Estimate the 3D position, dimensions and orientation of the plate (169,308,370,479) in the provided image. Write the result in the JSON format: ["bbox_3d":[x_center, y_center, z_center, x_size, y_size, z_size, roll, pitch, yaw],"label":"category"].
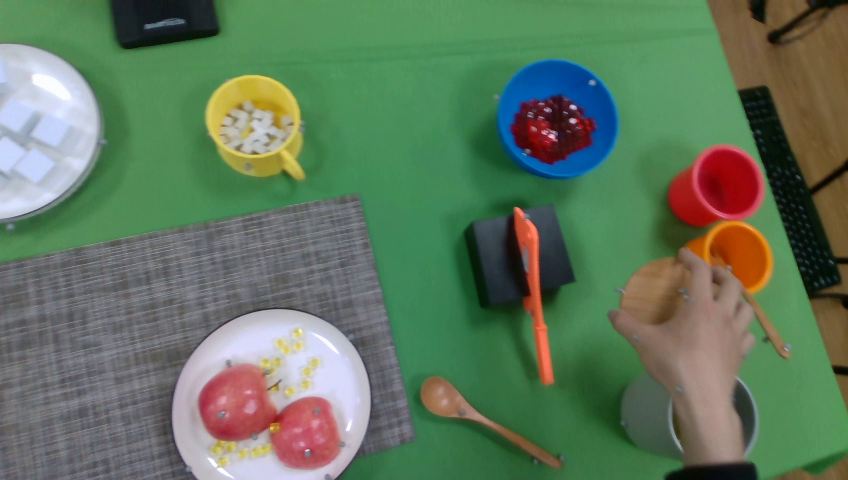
[{"bbox_3d":[-0.165,0.178,0.660,0.210,0.038,0.208,2,79,-9],"label":"plate"}]

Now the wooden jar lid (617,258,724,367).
[{"bbox_3d":[0.244,0.072,0.605,0.108,0.021,0.108,0,84,-3],"label":"wooden jar lid"}]

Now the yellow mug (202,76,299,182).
[{"bbox_3d":[-0.190,-0.119,0.706,0.100,0.064,0.131,-42,89,-15],"label":"yellow mug"}]

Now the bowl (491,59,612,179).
[{"bbox_3d":[0.149,-0.140,0.760,0.152,0.077,0.150,2,79,-9],"label":"bowl"}]

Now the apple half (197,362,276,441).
[{"bbox_3d":[-0.201,0.172,0.640,0.075,0.053,0.080,-16,82,-10],"label":"apple half"}]

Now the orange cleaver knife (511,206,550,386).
[{"bbox_3d":[0.123,0.066,0.712,0.012,0.076,0.212,-11,105,-8],"label":"orange cleaver knife"}]

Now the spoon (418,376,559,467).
[{"bbox_3d":[0.076,0.217,0.704,0.194,0.022,0.041,30,59,-3],"label":"spoon"}]

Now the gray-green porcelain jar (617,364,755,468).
[{"bbox_3d":[0.289,0.196,0.691,0.106,0.127,0.105,2,78,-9],"label":"gray-green porcelain jar"}]

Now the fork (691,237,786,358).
[{"bbox_3d":[0.370,0.061,0.719,0.028,0.019,0.205,1,35,-7],"label":"fork"}]

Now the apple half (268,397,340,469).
[{"bbox_3d":[-0.131,0.211,0.653,0.081,0.033,0.081,2,75,-8],"label":"apple half"}]

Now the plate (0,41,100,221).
[{"bbox_3d":[-0.469,-0.118,0.673,0.208,0.039,0.206,2,78,-9],"label":"plate"}]
